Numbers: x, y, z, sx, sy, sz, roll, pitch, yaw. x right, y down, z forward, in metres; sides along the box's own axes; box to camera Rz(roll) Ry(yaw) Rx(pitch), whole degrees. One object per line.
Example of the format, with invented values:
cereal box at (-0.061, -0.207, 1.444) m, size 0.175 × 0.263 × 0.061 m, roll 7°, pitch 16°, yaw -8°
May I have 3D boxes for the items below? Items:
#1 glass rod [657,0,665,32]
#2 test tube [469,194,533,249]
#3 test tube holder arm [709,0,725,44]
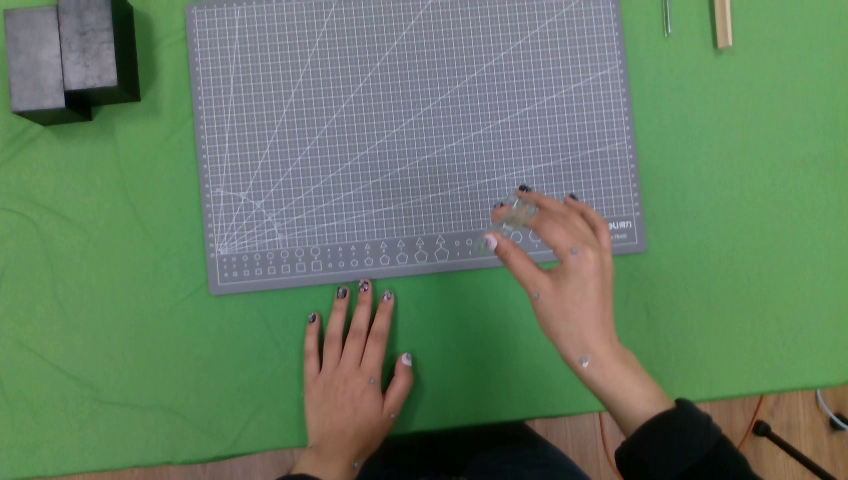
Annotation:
glass rod at (0.249, -0.321, 0.647) m, size 0.008 × 0.008 × 0.199 m, roll -1°, pitch 88°, yaw -3°
test tube at (0.059, -0.012, 0.499) m, size 0.017 × 0.150 × 0.017 m, roll 2°, pitch 79°, yaw -8°
test tube holder arm at (0.309, -0.297, 0.641) m, size 0.013 × 0.015 × 0.178 m, roll 2°, pitch 87°, yaw -32°
